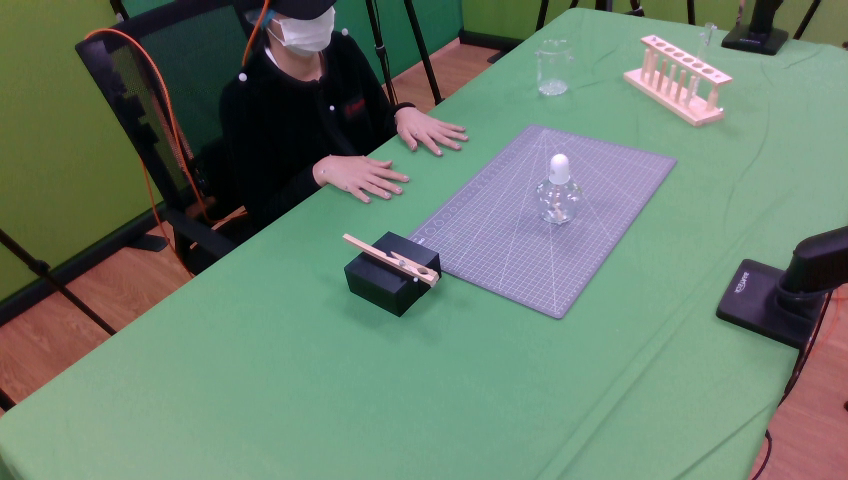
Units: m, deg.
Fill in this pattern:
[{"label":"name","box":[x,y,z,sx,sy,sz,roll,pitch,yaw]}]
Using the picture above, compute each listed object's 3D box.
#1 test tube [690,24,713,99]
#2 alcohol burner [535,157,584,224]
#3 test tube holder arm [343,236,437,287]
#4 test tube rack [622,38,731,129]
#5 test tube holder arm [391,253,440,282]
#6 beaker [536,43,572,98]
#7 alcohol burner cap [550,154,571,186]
[{"label":"test tube","box":[0.534,-0.342,1.172,0.017,0.151,0.017,-3,41,3]},{"label":"alcohol burner","box":[0.217,-0.085,0.967,0.078,0.119,0.077,-3,41,3]},{"label":"test tube holder arm","box":[-0.053,0.028,0.879,0.177,0.015,0.013,22,57,32]},{"label":"test tube rack","box":[0.506,-0.325,1.234,0.067,0.085,0.240,-18,41,-11]},{"label":"test tube holder arm","box":[-0.015,0.039,0.858,0.087,0.015,0.010,23,57,32]},{"label":"beaker","box":[0.280,-0.368,1.311,0.074,0.101,0.084,4,41,14]},{"label":"alcohol burner cap","box":[0.212,-0.112,0.944,0.034,0.048,0.033,-6,44,7]}]
